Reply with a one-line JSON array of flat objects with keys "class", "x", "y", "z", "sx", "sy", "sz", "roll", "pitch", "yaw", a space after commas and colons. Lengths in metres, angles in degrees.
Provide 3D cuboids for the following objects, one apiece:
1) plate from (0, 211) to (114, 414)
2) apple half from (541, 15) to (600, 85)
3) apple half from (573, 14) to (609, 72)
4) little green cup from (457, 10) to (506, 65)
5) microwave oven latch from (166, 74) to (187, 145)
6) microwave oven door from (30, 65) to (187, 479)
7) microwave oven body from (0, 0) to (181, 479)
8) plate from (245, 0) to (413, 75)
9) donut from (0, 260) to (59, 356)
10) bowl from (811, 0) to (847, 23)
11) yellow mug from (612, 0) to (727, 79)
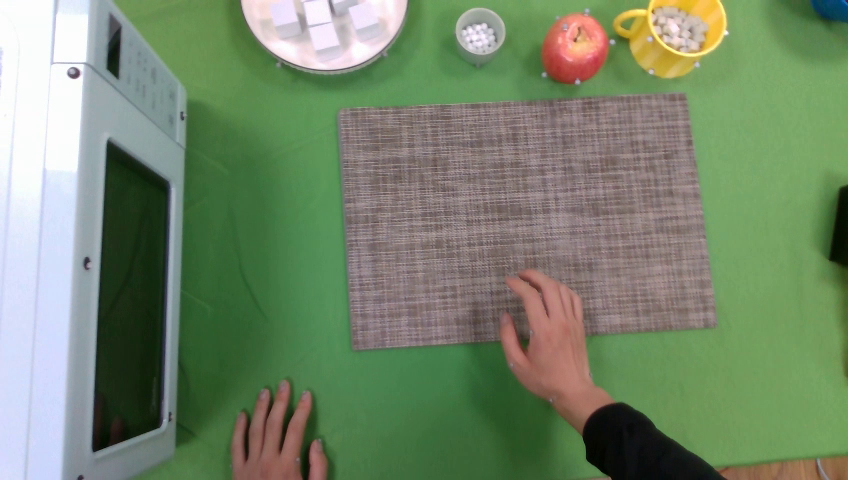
[{"class": "plate", "x": -0.428, "y": 0.074, "z": 0.630, "sx": 0.209, "sy": 0.038, "sz": 0.208, "roll": 1, "pitch": 83, "yaw": -4}, {"class": "apple half", "x": 0.175, "y": -0.229, "z": 0.755, "sx": 0.053, "sy": 0.074, "sz": 0.080, "roll": -30, "pitch": 88, "yaw": -2}, {"class": "apple half", "x": 0.209, "y": -0.248, "z": 0.758, "sx": 0.033, "sy": 0.081, "sz": 0.081, "roll": -30, "pitch": 84, "yaw": -2}, {"class": "little green cup", "x": 0.071, "y": -0.255, "z": 0.769, "sx": 0.061, "sy": 0.039, "sz": 0.061, "roll": 0, "pitch": 81, "yaw": -3}, {"class": "microwave oven latch", "x": -0.297, "y": -0.153, "z": 0.715, "sx": 0.030, "sy": 0.029, "sz": 0.079, "roll": 1, "pitch": 83, "yaw": -3}, {"class": "microwave oven door", "x": -0.291, "y": 0.048, "z": 0.585, "sx": 0.039, "sy": 0.244, "sz": 0.354, "roll": -1, "pitch": 82, "yaw": -3}, {"class": "microwave oven body", "x": -0.438, "y": 0.008, "z": 0.588, "sx": 0.326, "sy": 0.260, "sz": 0.440, "roll": 0, "pitch": 83, "yaw": -4}, {"class": "plate", "x": -0.117, "y": -0.304, "z": 0.765, "sx": 0.208, "sy": 0.039, "sz": 0.207, "roll": 1, "pitch": 82, "yaw": -3}, {"class": "donut", "x": -0.426, "y": 0.069, "z": 0.618, "sx": 0.099, "sy": 0.048, "sz": 0.099, "roll": 0, "pitch": 83, "yaw": -2}, {"class": "bowl", "x": 0.564, "y": -0.340, "z": 0.789, "sx": 0.151, "sy": 0.077, "sz": 0.151, "roll": 0, "pitch": 82, "yaw": -2}, {"class": "yellow mug", "x": 0.306, "y": -0.267, "z": 0.770, "sx": 0.131, "sy": 0.064, "sz": 0.099, "roll": 7, "pitch": 81, "yaw": -1}]
